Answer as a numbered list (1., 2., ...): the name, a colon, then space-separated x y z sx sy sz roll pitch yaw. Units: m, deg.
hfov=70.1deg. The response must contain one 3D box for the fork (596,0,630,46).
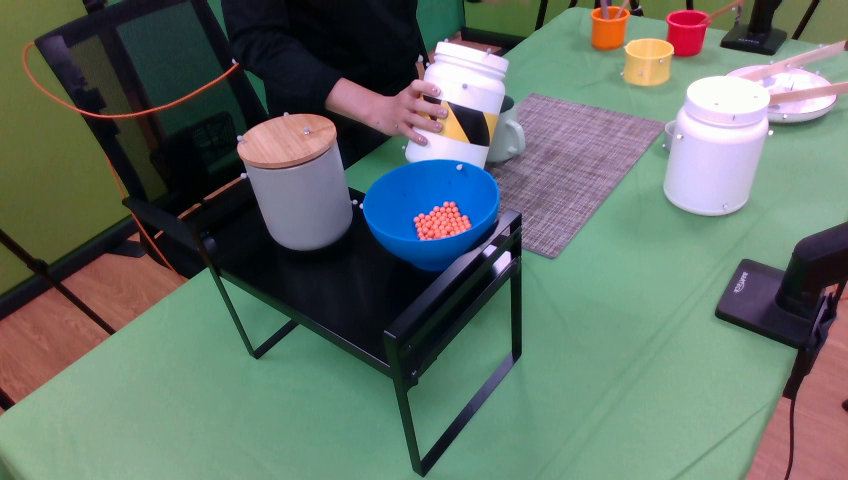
1. fork: 0.481 -0.556 1.453 0.028 0.019 0.207 40 103 38

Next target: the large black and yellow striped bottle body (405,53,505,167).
1. large black and yellow striped bottle body: 0.053 -0.202 0.958 0.131 0.184 0.130 14 15 -3

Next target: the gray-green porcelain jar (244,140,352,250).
1. gray-green porcelain jar: -0.144 -0.060 0.714 0.106 0.127 0.105 -4 41 4

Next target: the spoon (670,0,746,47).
1. spoon: 0.629 -0.485 1.350 0.022 0.193 0.042 47 54 -7

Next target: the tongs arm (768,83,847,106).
1. tongs arm: 0.738 -0.281 1.134 0.388 0.028 0.028 -9 47 -5

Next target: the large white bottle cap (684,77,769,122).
1. large white bottle cap: 0.448 -0.210 0.898 0.115 0.018 0.114 -4 40 4

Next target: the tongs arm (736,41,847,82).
1. tongs arm: 0.712 -0.332 1.194 0.386 0.026 0.050 -19 45 -16

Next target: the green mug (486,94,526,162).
1. green mug: 0.144 -0.201 1.122 0.093 0.105 0.124 -29 45 -23

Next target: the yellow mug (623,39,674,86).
1. yellow mug: 0.485 -0.398 1.334 0.100 0.064 0.130 -18 41 -10

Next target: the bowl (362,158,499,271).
1. bowl: 0.011 -0.019 0.679 0.151 0.077 0.150 -5 41 5

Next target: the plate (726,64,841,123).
1. plate: 0.695 -0.282 1.189 0.207 0.039 0.206 -4 40 4

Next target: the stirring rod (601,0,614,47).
1. stirring rod: 0.439 -0.552 1.463 0.014 0.006 0.175 -7 83 3

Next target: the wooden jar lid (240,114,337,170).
1. wooden jar lid: -0.149 -0.106 0.673 0.108 0.021 0.108 -6 38 5

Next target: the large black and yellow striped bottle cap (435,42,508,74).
1. large black and yellow striped bottle cap: 0.074 -0.281 0.935 0.115 0.019 0.115 15 14 -3

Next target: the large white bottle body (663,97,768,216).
1. large white bottle body: 0.458 -0.146 0.952 0.130 0.185 0.130 -4 40 4

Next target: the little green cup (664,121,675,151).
1. little green cup: 0.472 -0.188 1.113 0.061 0.039 0.061 -5 40 4
